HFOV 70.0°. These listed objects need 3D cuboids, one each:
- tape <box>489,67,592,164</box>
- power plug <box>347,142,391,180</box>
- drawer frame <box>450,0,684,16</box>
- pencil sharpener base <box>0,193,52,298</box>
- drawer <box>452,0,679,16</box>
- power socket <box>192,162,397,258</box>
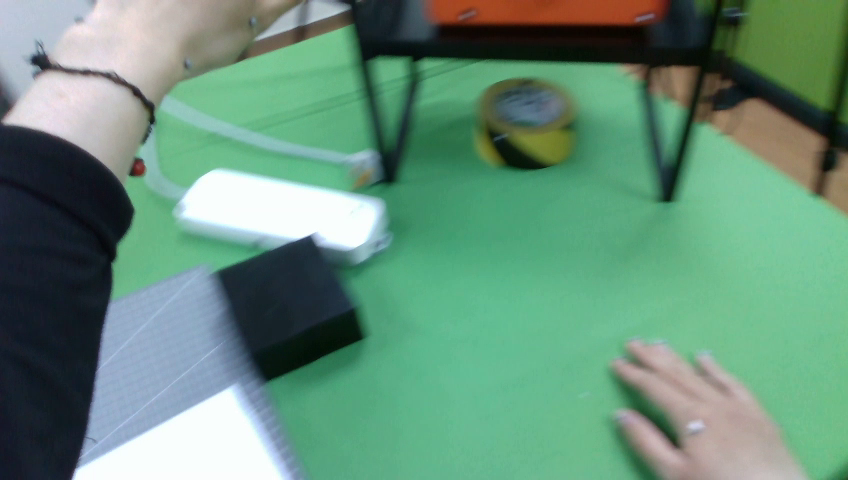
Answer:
[{"bbox_3d":[0.132,-0.144,0.695,0.117,0.053,0.115,-2,50,3],"label":"tape"},{"bbox_3d":[-0.066,-0.084,0.683,0.072,0.035,0.052,-14,31,43],"label":"power plug"},{"bbox_3d":[0.133,-0.298,0.570,0.201,0.083,0.211,2,49,7],"label":"drawer frame"},{"bbox_3d":[-0.424,0.001,0.576,0.076,0.108,0.061,-34,55,-22],"label":"pencil sharpener base"},{"bbox_3d":[0.133,-0.294,0.569,0.194,0.074,0.210,4,49,8],"label":"drawer"},{"bbox_3d":[-0.137,-0.034,0.634,0.226,0.033,0.072,12,51,15],"label":"power socket"}]
